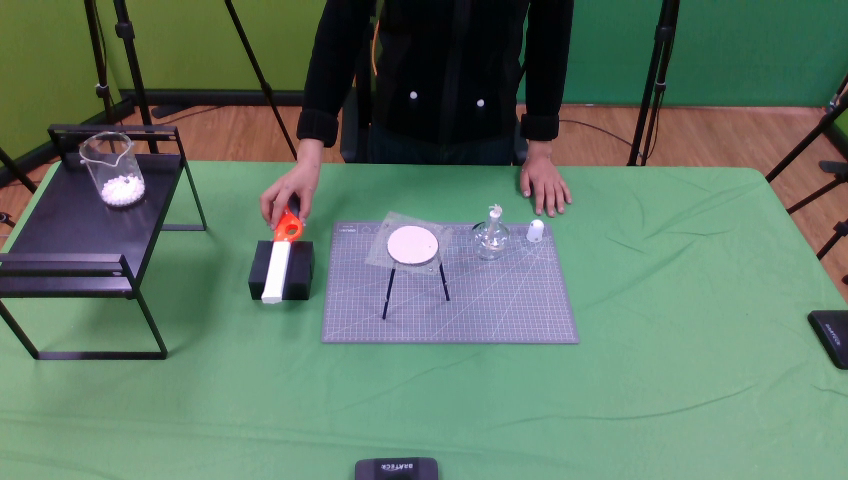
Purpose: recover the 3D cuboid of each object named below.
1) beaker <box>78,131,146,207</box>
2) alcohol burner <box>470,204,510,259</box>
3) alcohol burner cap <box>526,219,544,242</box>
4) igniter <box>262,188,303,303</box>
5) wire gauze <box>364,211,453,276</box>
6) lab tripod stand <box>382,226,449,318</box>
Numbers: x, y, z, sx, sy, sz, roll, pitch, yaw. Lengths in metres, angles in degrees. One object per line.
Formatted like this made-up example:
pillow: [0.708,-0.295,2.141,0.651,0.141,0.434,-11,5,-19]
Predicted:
beaker: [-0.488,-0.108,0.961,0.074,0.101,0.083,-25,54,-25]
alcohol burner: [0.128,-0.021,1.161,0.078,0.119,0.077,2,44,-2]
alcohol burner cap: [0.225,-0.021,1.218,0.034,0.048,0.033,1,46,-1]
igniter: [-0.257,0.000,1.107,0.057,0.025,0.275,0,47,-1]
wire gauze: [-0.024,0.006,1.016,0.121,0.011,0.124,14,48,9]
lab tripod stand: [-0.024,0.055,1.063,0.148,0.132,0.147,2,48,-2]
